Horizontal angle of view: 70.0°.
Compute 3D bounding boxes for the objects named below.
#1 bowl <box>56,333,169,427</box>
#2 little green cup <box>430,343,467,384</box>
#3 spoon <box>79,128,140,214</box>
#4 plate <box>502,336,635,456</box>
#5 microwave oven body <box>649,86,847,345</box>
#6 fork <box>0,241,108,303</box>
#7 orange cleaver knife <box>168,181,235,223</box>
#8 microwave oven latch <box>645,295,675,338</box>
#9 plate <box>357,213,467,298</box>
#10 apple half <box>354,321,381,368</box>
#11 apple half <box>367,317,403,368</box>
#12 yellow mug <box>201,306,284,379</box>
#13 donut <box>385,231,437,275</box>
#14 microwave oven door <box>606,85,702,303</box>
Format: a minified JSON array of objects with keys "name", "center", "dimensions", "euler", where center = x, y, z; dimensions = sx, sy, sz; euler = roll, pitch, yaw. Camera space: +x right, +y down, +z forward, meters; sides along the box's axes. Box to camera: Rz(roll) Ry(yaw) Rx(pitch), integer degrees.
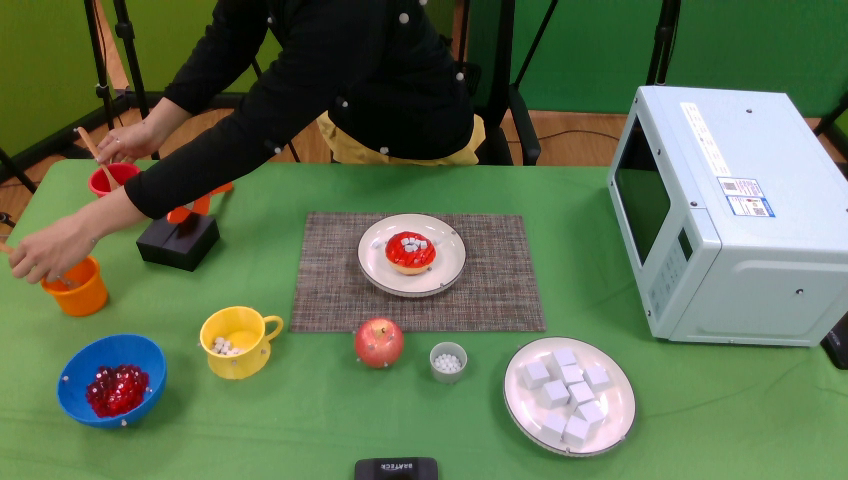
[{"name":"bowl","center":[-0.456,0.223,0.911],"dimensions":[0.151,0.077,0.150],"euler":[3,46,-2]},{"name":"little green cup","center":[0.038,0.203,0.993],"dimensions":[0.061,0.039,0.061],"euler":[2,46,-2]},{"name":"spoon","center":[-0.627,-0.137,1.202],"dimensions":[0.041,0.021,0.194],"euler":[-31,100,-24]},{"name":"plate","center":[0.225,0.248,0.963],"dimensions":[0.208,0.039,0.206],"euler":[2,46,-2]},{"name":"microwave oven body","center":[0.568,-0.053,1.118],"dimensions":[0.326,0.261,0.439],"euler":[2,45,-1]},{"name":"fork","center":[-0.633,0.050,1.015],"dimensions":[0.208,0.018,0.028],"euler":[38,43,-28]},{"name":"orange cleaver knife","center":[-0.436,-0.077,1.196],"dimensions":[0.012,0.077,0.211],"euler":[16,15,10]},{"name":"microwave oven latch","center":[0.412,0.134,1.061],"dimensions":[0.030,0.029,0.078],"euler":[3,45,0]},{"name":"plate","center":[-0.023,0.032,1.149],"dimensions":[0.209,0.038,0.208],"euler":[2,46,-2]},{"name":"apple half","center":[-0.097,0.176,0.985],"dimensions":[0.033,0.081,0.080],"euler":[-12,48,-20]},{"name":"apple half","center":[-0.062,0.167,0.998],"dimensions":[0.053,0.075,0.080],"euler":[-11,44,-21]},{"name":"yellow mug","center":[-0.292,0.160,0.993],"dimensions":[0.131,0.064,0.099],"euler":[-23,52,-26]},{"name":"donut","center":[-0.025,0.024,1.141],"dimensions":[0.099,0.048,0.098],"euler":[4,43,-3]},{"name":"microwave oven door","center":[0.422,-0.094,1.140],"dimensions":[0.039,0.245,0.353],"euler":[2,46,-1]}]
